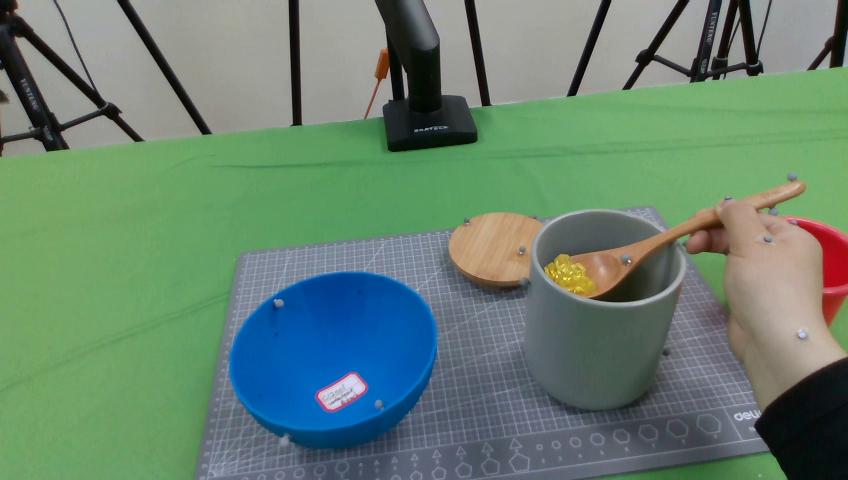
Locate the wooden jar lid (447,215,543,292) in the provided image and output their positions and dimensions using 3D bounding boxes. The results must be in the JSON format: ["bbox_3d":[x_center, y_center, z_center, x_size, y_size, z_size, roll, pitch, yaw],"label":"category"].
[{"bbox_3d":[0.077,0.014,0.606,0.108,0.021,0.107,-3,38,2],"label":"wooden jar lid"}]

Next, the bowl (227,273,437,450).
[{"bbox_3d":[-0.063,0.103,0.461,0.151,0.077,0.150,-2,40,2],"label":"bowl"}]

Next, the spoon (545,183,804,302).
[{"bbox_3d":[0.177,-0.001,0.426,0.194,0.022,0.041,-24,42,4],"label":"spoon"}]

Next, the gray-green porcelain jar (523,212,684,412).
[{"bbox_3d":[0.130,0.059,0.461,0.106,0.127,0.105,-2,40,2],"label":"gray-green porcelain jar"}]
